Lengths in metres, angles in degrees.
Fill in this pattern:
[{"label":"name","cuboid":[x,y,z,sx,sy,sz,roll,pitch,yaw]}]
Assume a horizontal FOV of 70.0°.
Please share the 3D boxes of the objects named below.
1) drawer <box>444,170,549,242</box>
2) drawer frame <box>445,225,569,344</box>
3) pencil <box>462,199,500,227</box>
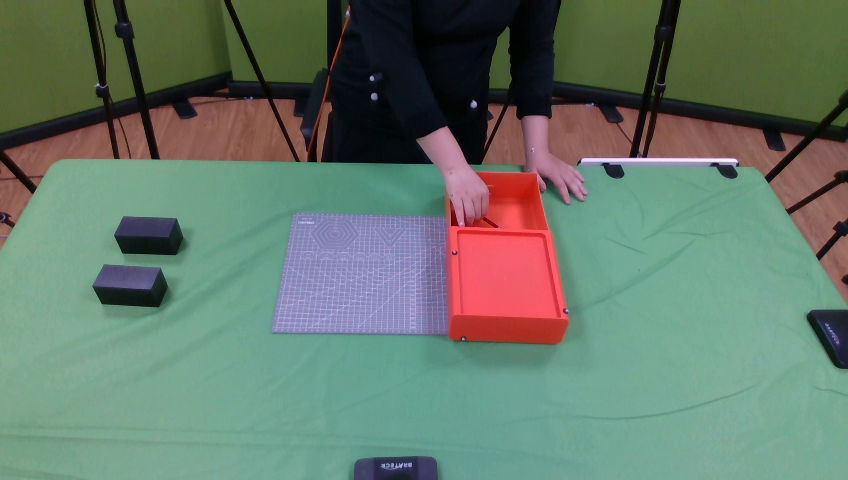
[{"label":"drawer","cuboid":[0.141,-0.050,1.216,0.194,0.073,0.210,2,43,-3]},{"label":"drawer frame","cuboid":[0.141,0.076,1.089,0.202,0.083,0.212,2,47,-3]},{"label":"pencil","cuboid":[0.146,-0.028,1.223,0.012,0.012,0.193,-34,60,-31]}]
